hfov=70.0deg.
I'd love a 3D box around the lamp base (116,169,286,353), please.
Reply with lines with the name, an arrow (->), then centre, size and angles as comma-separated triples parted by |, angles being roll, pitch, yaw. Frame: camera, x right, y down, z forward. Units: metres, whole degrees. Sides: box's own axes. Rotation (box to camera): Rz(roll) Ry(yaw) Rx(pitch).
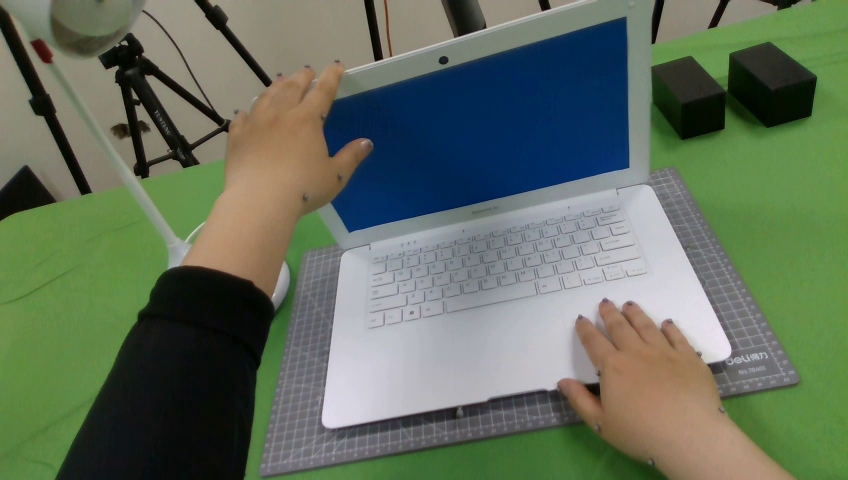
lamp base -> -0.268, 0.008, 0.669 | 0.177, 0.182, 0.160 | 16, 51, 39

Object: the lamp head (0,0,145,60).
lamp head -> -0.297, -0.215, 0.470 | 0.123, 0.113, 0.112 | 28, 52, 2

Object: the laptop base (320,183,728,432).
laptop base -> 0.074, 0.059, 0.596 | 0.354, 0.023, 0.233 | -13, 43, 9

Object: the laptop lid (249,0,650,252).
laptop lid -> 0.040, -0.094, 0.595 | 0.356, 0.244, 0.013 | -14, 50, 10
